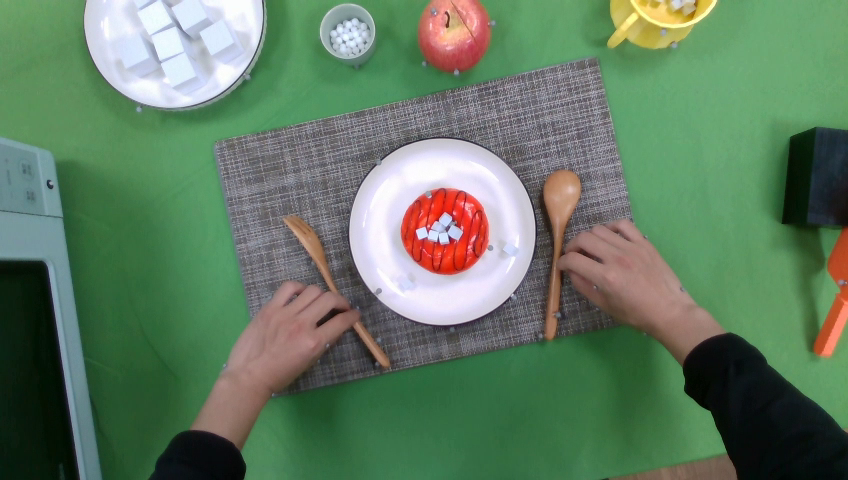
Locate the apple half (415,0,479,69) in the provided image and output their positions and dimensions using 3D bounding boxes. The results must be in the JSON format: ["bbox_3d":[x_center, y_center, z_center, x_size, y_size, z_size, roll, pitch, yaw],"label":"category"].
[{"bbox_3d":[0.018,-0.222,0.662,0.053,0.074,0.081,-33,91,6],"label":"apple half"}]

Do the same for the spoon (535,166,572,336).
[{"bbox_3d":[0.144,0.011,0.682,0.041,0.022,0.193,1,88,20],"label":"spoon"}]

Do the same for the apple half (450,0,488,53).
[{"bbox_3d":[0.051,-0.243,0.660,0.033,0.081,0.081,-33,87,5],"label":"apple half"}]

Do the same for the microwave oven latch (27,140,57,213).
[{"bbox_3d":[-0.435,-0.070,0.677,0.030,0.029,0.079,-7,90,2],"label":"microwave oven latch"}]

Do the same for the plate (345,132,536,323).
[{"bbox_3d":[0.018,-0.014,0.673,0.209,0.038,0.209,0,89,2],"label":"plate"}]

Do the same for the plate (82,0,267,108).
[{"bbox_3d":[-0.279,-0.251,0.691,0.207,0.039,0.207,0,89,2],"label":"plate"}]

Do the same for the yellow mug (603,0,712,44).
[{"bbox_3d":[0.244,-0.262,0.657,0.131,0.064,0.100,-44,88,2],"label":"yellow mug"}]

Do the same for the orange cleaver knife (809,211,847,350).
[{"bbox_3d":[0.444,0.020,0.634,0.012,0.076,0.213,7,121,5],"label":"orange cleaver knife"}]

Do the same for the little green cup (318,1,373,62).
[{"bbox_3d":[-0.086,-0.232,0.683,0.061,0.038,0.061,0,89,3],"label":"little green cup"}]

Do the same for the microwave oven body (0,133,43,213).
[{"bbox_3d":[-0.557,0.127,0.583,0.326,0.260,0.441,-9,89,2],"label":"microwave oven body"}]

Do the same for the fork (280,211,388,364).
[{"bbox_3d":[-0.100,0.053,0.685,0.018,0.028,0.207,-31,90,30],"label":"fork"}]

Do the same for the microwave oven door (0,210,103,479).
[{"bbox_3d":[-0.406,0.145,0.572,0.039,0.244,0.355,-10,88,2],"label":"microwave oven door"}]

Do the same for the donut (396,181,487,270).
[{"bbox_3d":[0.020,-0.015,0.662,0.099,0.048,0.099,0,91,4],"label":"donut"}]
